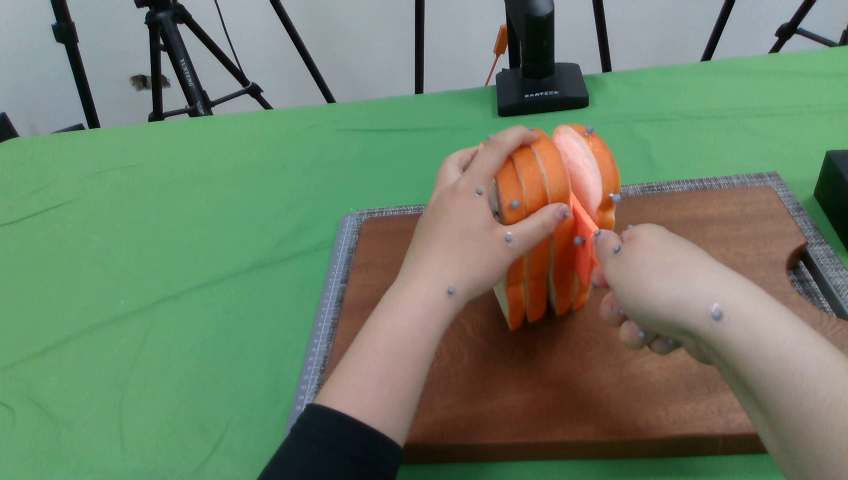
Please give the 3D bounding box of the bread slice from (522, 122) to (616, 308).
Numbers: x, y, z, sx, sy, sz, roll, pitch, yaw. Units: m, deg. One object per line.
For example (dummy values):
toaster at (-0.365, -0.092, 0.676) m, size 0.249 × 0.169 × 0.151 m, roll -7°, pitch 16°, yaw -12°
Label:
bread slice at (0.116, -0.026, 0.489) m, size 0.019 × 0.132 × 0.103 m, roll -4°, pitch 40°, yaw -15°

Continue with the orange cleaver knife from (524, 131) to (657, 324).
orange cleaver knife at (0.111, -0.006, 0.446) m, size 0.012 × 0.078 × 0.209 m, roll -13°, pitch 41°, yaw -5°

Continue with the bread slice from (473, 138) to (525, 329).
bread slice at (0.058, -0.013, 0.487) m, size 0.018 × 0.135 × 0.106 m, roll -10°, pitch 36°, yaw -4°
